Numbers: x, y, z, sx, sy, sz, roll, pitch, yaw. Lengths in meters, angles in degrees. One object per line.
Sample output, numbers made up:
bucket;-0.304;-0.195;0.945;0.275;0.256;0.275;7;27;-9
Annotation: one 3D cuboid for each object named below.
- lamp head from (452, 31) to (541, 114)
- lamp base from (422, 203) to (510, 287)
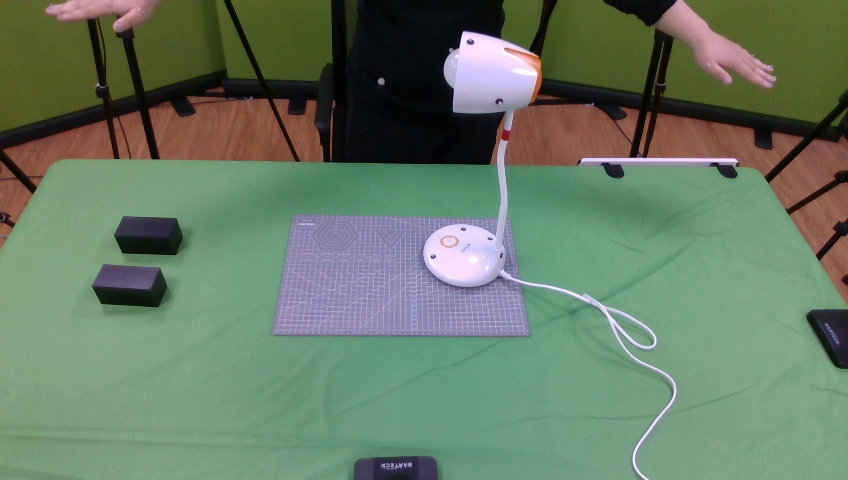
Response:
lamp head;0.102;-0.228;0.858;0.123;0.113;0.112;11;46;0
lamp base;0.092;-0.021;1.111;0.179;0.181;0.160;23;49;14
